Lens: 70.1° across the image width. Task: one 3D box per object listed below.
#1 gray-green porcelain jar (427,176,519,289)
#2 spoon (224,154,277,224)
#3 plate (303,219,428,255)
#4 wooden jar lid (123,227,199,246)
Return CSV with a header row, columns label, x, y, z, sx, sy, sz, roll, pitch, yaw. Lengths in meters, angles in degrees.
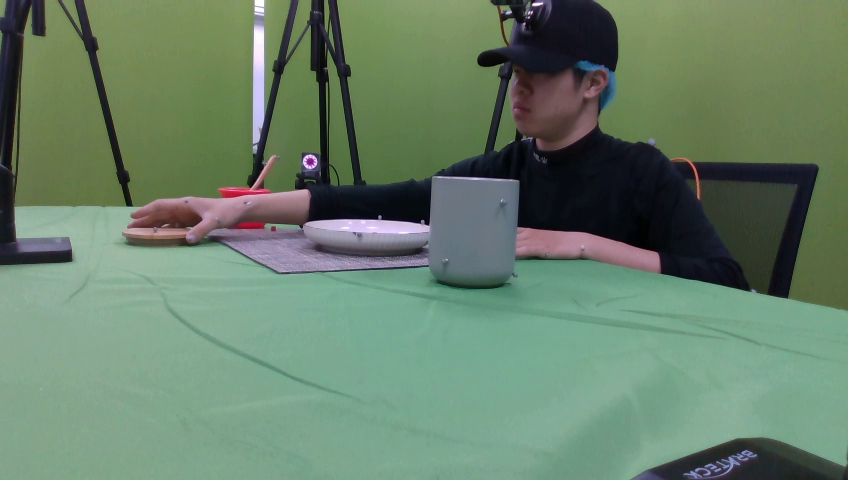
label,x,y,z,sx,sy,sz,roll,pitch,yaw
gray-green porcelain jar,0.057,-0.010,0.722,0.106,0.126,0.106,2,7,0
spoon,-0.345,-0.106,1.214,0.041,0.022,0.194,2,45,26
plate,-0.084,-0.005,0.952,0.208,0.039,0.207,3,7,0
wooden jar lid,-0.408,-0.005,0.941,0.108,0.020,0.108,4,5,0
